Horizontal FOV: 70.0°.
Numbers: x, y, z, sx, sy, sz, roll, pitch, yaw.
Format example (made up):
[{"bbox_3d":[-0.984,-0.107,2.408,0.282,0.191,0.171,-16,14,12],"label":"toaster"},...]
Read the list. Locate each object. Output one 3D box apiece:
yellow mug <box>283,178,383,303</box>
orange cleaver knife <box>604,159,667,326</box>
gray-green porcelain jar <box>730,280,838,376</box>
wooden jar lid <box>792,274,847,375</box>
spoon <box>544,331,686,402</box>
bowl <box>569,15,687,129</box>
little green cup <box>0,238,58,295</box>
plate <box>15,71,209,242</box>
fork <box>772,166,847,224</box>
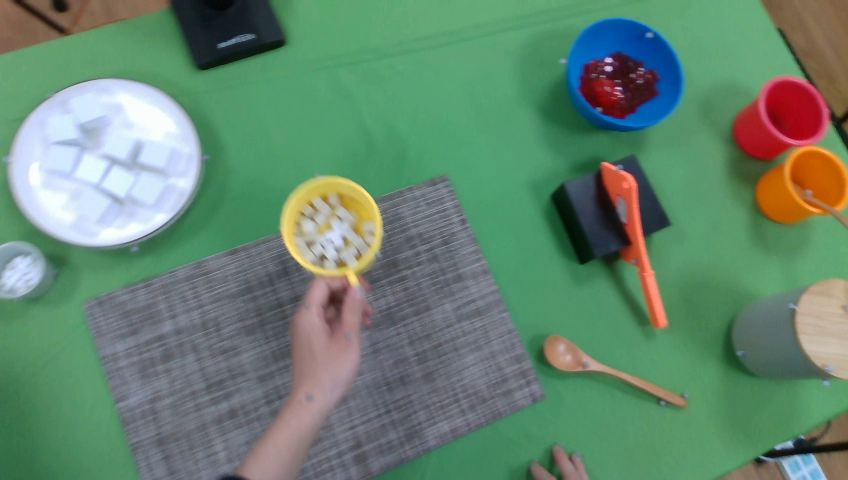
[{"bbox_3d":[-0.087,0.005,0.637,0.100,0.064,0.130,-22,86,-8],"label":"yellow mug"},{"bbox_3d":[0.257,0.003,0.740,0.012,0.077,0.212,-19,103,-7],"label":"orange cleaver knife"},{"bbox_3d":[0.439,0.107,0.716,0.106,0.127,0.105,2,76,-7],"label":"gray-green porcelain jar"},{"bbox_3d":[0.446,0.092,0.655,0.108,0.021,0.108,1,77,-5],"label":"wooden jar lid"},{"bbox_3d":[0.231,0.158,0.731,0.194,0.022,0.041,22,58,-2],"label":"spoon"},{"bbox_3d":[0.252,-0.205,0.790,0.152,0.077,0.150,2,77,-7],"label":"bowl"},{"bbox_3d":[-0.438,0.032,0.665,0.062,0.039,0.061,2,77,-8],"label":"little green cup"},{"bbox_3d":[-0.356,-0.095,0.707,0.208,0.039,0.206,2,77,-7],"label":"plate"},{"bbox_3d":[0.499,-0.038,0.746,0.028,0.019,0.205,-6,34,-8],"label":"fork"}]
